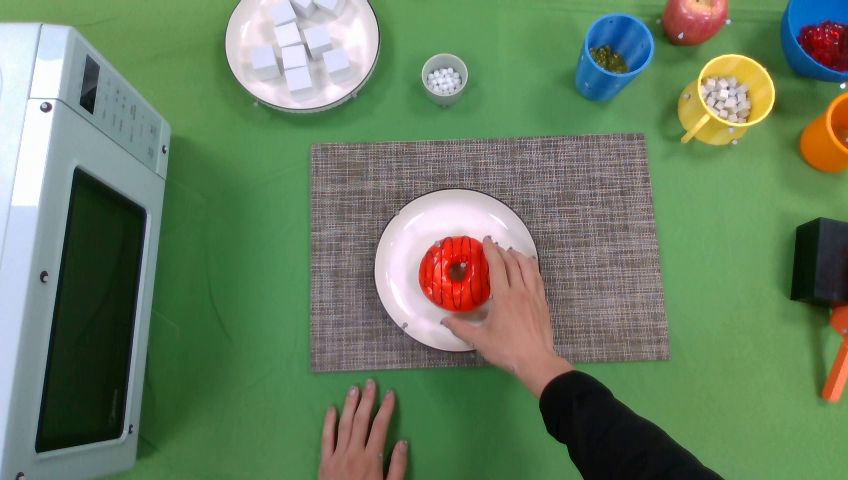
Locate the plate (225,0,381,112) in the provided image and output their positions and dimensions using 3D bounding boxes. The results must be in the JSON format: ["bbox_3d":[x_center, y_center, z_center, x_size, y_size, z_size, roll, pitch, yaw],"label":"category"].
[{"bbox_3d":[-0.162,-0.268,0.827,0.208,0.039,0.206,0,78,0],"label":"plate"}]

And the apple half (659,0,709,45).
[{"bbox_3d":[0.347,-0.307,0.819,0.053,0.075,0.080,3,81,4],"label":"apple half"}]

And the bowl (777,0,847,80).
[{"bbox_3d":[0.537,-0.273,0.810,0.151,0.077,0.150,0,79,1],"label":"bowl"}]

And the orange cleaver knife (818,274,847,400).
[{"bbox_3d":[0.515,0.090,0.731,0.012,0.077,0.212,13,108,5],"label":"orange cleaver knife"}]

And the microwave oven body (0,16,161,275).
[{"bbox_3d":[-0.499,0.025,0.647,0.326,0.261,0.439,1,79,0],"label":"microwave oven body"}]

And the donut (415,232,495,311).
[{"bbox_3d":[0.038,0.039,0.748,0.099,0.048,0.098,0,81,1],"label":"donut"}]

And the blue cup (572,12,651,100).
[{"bbox_3d":[0.235,-0.230,0.789,0.093,0.100,0.092,0,79,-1],"label":"blue cup"}]

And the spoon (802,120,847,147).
[{"bbox_3d":[0.562,-0.116,0.741,0.041,0.191,0.022,-44,125,-8],"label":"spoon"}]

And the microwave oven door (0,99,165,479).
[{"bbox_3d":[-0.354,0.067,0.633,0.039,0.245,0.354,1,78,0],"label":"microwave oven door"}]

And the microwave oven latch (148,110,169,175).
[{"bbox_3d":[-0.347,-0.125,0.777,0.030,0.029,0.079,2,79,0],"label":"microwave oven latch"}]

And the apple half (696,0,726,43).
[{"bbox_3d":[0.386,-0.305,0.817,0.033,0.081,0.081,3,78,4],"label":"apple half"}]

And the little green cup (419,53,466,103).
[{"bbox_3d":[0.025,-0.216,0.817,0.061,0.039,0.061,0,78,0],"label":"little green cup"}]

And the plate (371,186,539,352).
[{"bbox_3d":[0.038,0.035,0.760,0.209,0.038,0.208,0,78,0],"label":"plate"}]

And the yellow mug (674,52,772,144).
[{"bbox_3d":[0.381,-0.175,0.795,0.131,0.064,0.099,-44,81,-7],"label":"yellow mug"}]
